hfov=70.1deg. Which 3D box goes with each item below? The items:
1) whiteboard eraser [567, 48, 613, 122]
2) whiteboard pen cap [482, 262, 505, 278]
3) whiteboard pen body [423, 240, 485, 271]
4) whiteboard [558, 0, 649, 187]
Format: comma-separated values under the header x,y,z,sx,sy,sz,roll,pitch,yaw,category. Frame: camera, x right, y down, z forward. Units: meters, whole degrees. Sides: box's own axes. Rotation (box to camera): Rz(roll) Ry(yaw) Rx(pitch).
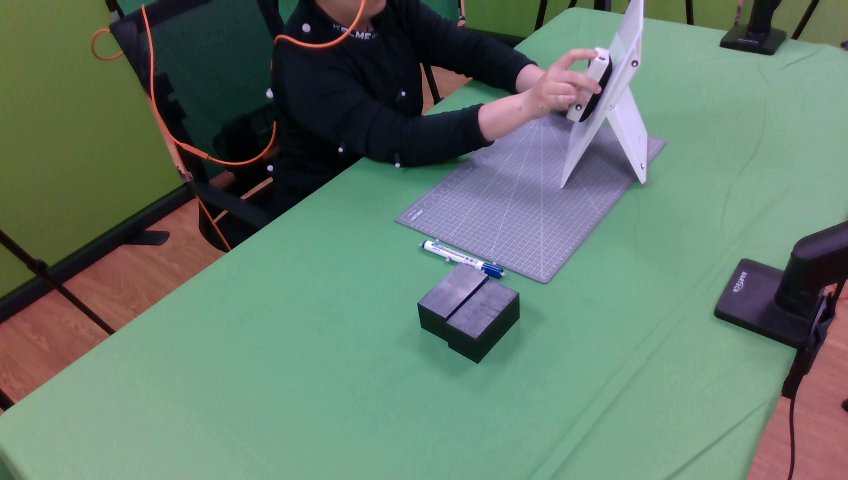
x,y,z,sx,sy,sz,roll,pitch,yaw,category
0.273,-0.251,0.990,0.042,0.113,0.055,22,43,3,whiteboard eraser
0.104,0.044,0.912,0.033,0.018,0.018,22,48,29,whiteboard pen cap
0.057,0.027,0.942,0.139,0.017,0.017,21,48,30,whiteboard pen body
0.361,-0.238,1.026,0.144,0.306,0.217,21,44,3,whiteboard
